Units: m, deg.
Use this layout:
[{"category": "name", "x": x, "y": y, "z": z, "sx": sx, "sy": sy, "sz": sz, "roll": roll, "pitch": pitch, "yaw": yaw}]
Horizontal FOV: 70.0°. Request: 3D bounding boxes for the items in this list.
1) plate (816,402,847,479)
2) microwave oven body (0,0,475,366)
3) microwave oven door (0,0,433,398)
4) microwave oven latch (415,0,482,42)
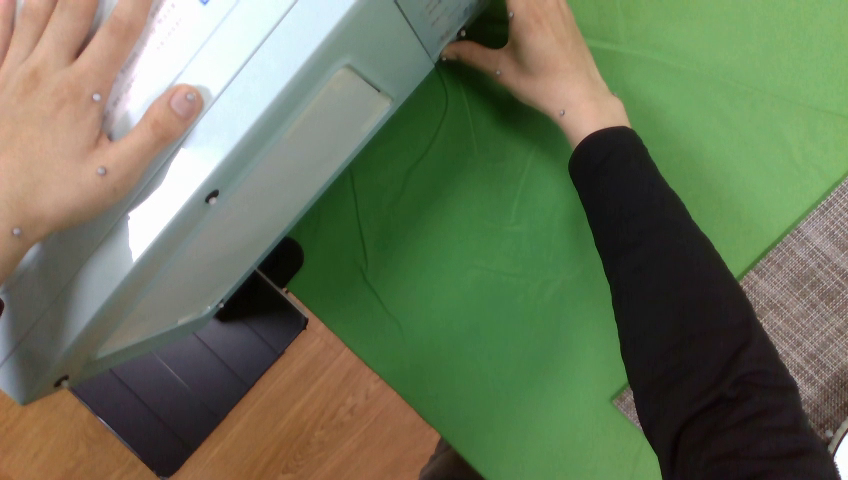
[{"category": "plate", "x": 0.461, "y": 0.209, "z": 0.542, "sx": 0.209, "sy": 0.038, "sz": 0.209, "roll": 1, "pitch": 96, "yaw": 8}, {"category": "microwave oven body", "x": -0.215, "y": -0.174, "z": 0.480, "sx": 0.326, "sy": 0.260, "sz": 0.442, "roll": 44, "pitch": 101, "yaw": 1}, {"category": "microwave oven door", "x": -0.139, "y": -0.042, "z": 0.480, "sx": 0.039, "sy": 0.244, "sz": 0.356, "roll": 44, "pitch": 100, "yaw": 2}, {"category": "microwave oven latch", "x": 0.025, "y": -0.212, "z": 0.540, "sx": 0.079, "sy": 0.029, "sz": 0.030, "roll": -34, "pitch": 91, "yaw": 11}]
